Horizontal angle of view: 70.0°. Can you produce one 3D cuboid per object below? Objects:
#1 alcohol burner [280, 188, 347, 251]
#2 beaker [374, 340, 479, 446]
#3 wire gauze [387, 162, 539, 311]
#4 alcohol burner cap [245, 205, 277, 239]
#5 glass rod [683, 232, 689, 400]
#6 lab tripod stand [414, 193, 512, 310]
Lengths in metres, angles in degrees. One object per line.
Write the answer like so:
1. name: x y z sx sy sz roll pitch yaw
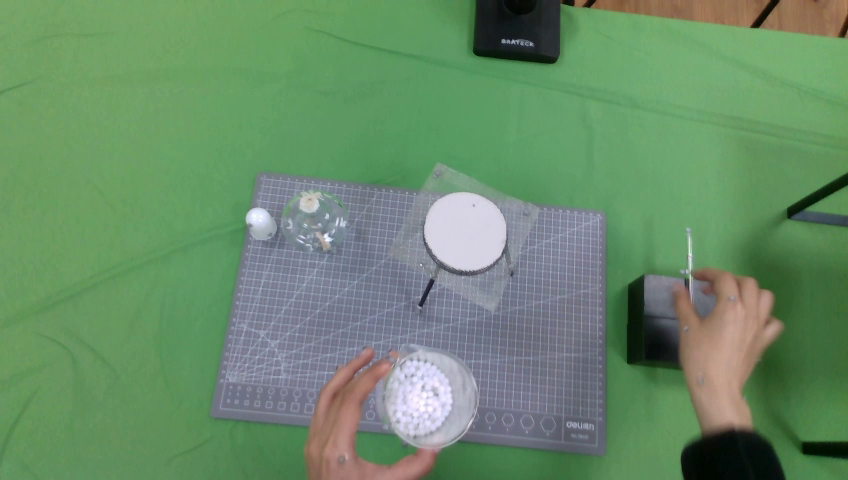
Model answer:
1. alcohol burner: -0.127 -0.029 0.696 0.078 0.119 0.077 2 72 -6
2. beaker: -0.005 0.126 0.505 0.074 0.100 0.083 -25 80 -15
3. wire gauze: 0.042 -0.008 0.623 0.125 0.011 0.121 28 73 3
4. alcohol burner cap: -0.197 -0.023 0.725 0.034 0.048 0.033 1 72 -3
5. glass rod: 0.305 0.085 0.705 0.008 0.008 0.198 8 73 -2
6. lab tripod stand: 0.041 0.011 0.688 0.148 0.132 0.147 2 71 -5
